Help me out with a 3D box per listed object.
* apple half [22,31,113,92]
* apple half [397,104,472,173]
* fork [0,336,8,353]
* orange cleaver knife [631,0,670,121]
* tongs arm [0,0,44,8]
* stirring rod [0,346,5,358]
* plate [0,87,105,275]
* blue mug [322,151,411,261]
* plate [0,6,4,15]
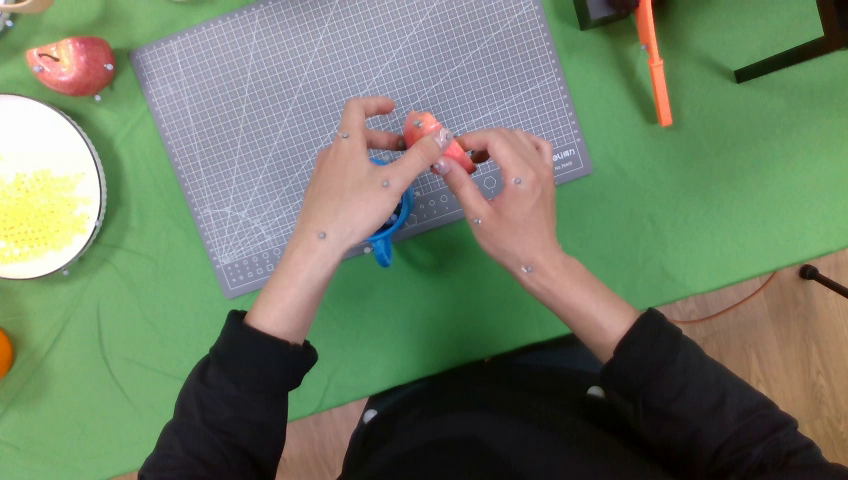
[{"bbox_3d":[-0.375,-0.187,0.652,0.081,0.074,0.053,-15,100,0],"label":"apple half"},{"bbox_3d":[0.003,-0.081,0.526,0.081,0.081,0.033,44,83,-3],"label":"apple half"},{"bbox_3d":[-0.579,0.134,0.660,0.208,0.018,0.028,-7,98,-41],"label":"fork"},{"bbox_3d":[0.227,-0.226,0.625,0.012,0.076,0.213,-17,123,12],"label":"orange cleaver knife"},{"bbox_3d":[-0.581,-0.280,0.631,0.385,0.026,0.051,10,93,2],"label":"tongs arm"},{"bbox_3d":[-0.565,0.150,0.665,0.177,0.006,0.014,-16,86,-37],"label":"stirring rod"},{"bbox_3d":[-0.461,-0.065,0.687,0.209,0.038,0.209,0,98,2],"label":"plate"},{"bbox_3d":[-0.054,-0.035,0.644,0.082,0.105,0.117,-11,97,3],"label":"blue mug"},{"bbox_3d":[-0.546,-0.303,0.659,0.207,0.039,0.208,0,98,2],"label":"plate"}]
